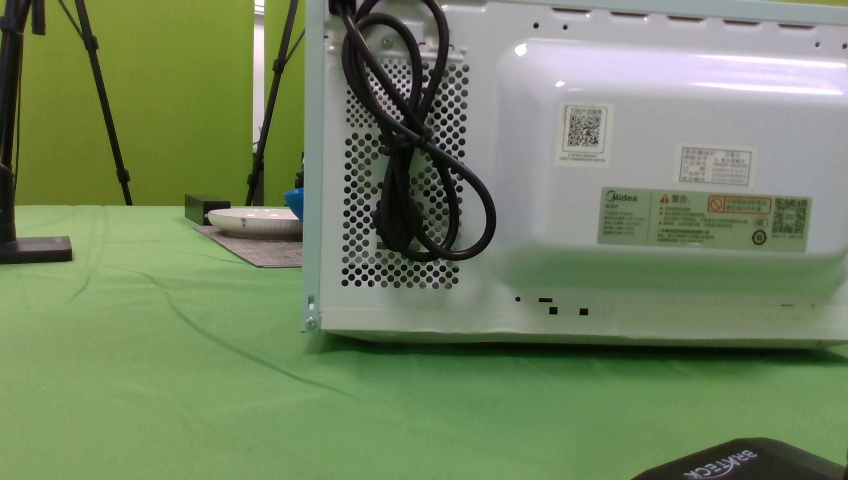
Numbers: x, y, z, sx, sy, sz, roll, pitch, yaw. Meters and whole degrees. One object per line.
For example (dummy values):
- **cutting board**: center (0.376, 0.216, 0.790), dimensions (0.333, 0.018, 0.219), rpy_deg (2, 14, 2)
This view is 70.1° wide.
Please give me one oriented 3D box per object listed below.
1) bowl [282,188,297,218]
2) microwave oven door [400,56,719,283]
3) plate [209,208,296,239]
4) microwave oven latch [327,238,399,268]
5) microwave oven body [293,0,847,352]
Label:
- **bowl**: center (-0.137, -0.050, 0.936), dimensions (0.151, 0.077, 0.151), rpy_deg (-11, 10, 2)
- **microwave oven door**: center (0.155, -0.077, 0.698), dimensions (0.356, 0.243, 0.039), rpy_deg (2, 8, -5)
- **plate**: center (-0.271, -0.029, 1.074), dimensions (0.208, 0.039, 0.207), rpy_deg (3, 7, 0)
- **microwave oven latch**: center (-0.069, 0.015, 0.694), dimensions (0.079, 0.029, 0.030), rpy_deg (3, 7, -3)
- **microwave oven body**: center (0.122, -0.055, 0.550), dimensions (0.442, 0.260, 0.325), rpy_deg (3, 7, -5)
